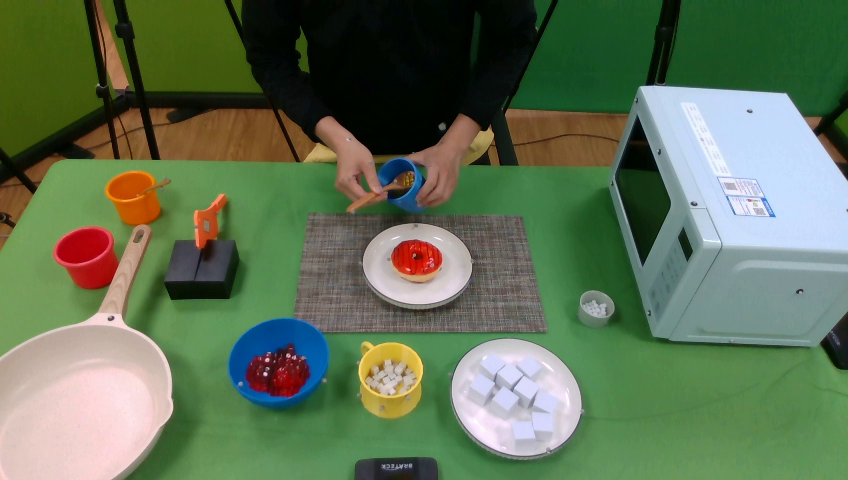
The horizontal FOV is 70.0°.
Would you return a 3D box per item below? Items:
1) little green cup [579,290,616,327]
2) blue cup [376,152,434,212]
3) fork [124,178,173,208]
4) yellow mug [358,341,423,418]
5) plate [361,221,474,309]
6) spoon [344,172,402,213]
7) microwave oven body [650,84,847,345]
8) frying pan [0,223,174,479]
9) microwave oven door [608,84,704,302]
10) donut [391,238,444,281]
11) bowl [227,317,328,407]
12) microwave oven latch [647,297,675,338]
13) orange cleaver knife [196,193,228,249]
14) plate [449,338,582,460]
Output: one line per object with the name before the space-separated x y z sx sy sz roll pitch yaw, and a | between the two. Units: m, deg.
little green cup | 0.308 0.124 1.086 0.061 0.039 0.061 1 45 -1
blue cup | -0.028 -0.097 1.129 0.092 0.101 0.092 -10 66 24
fork | -0.525 -0.090 1.153 0.207 0.019 0.028 -17 27 45
yellow mug | -0.062 0.210 0.961 0.100 0.064 0.130 -29 54 -27
plate | -0.011 0.049 1.130 0.209 0.038 0.208 2 46 -2
spoon | -0.074 -0.087 1.058 0.041 0.022 0.194 33 37 21
microwave oven body | 0.569 -0.054 1.115 0.326 0.261 0.439 2 46 -1
frying pan | -0.505 0.169 0.941 0.307 0.103 0.485 5 54 -1
microwave oven door | 0.424 -0.096 1.138 0.039 0.245 0.353 2 47 -1
donut | -0.012 0.035 1.128 0.099 0.048 0.098 3 43 -3
bowl | -0.222 0.203 0.947 0.151 0.077 0.150 2 46 -2
microwave oven latch | 0.413 0.133 1.060 0.030 0.029 0.078 5 46 2
orange cleaver knife | -0.406 -0.041 1.163 0.012 0.077 0.210 0 18 -3
plate | 0.141 0.251 0.955 0.208 0.039 0.206 2 46 -2
